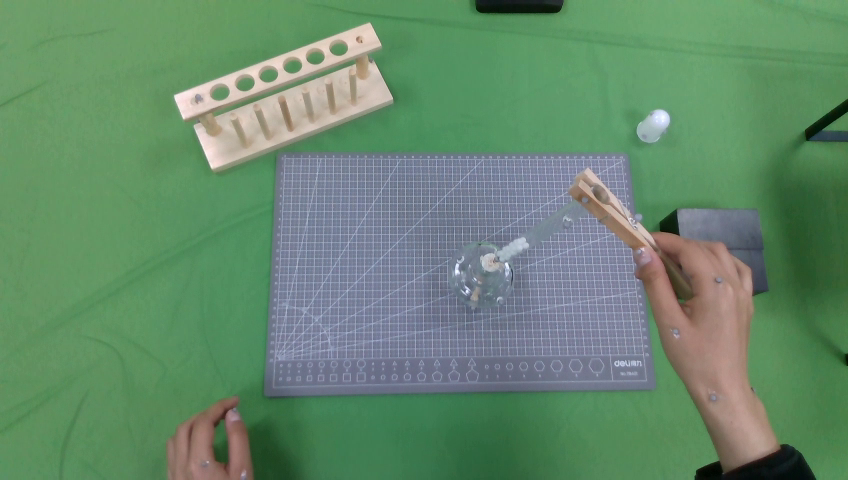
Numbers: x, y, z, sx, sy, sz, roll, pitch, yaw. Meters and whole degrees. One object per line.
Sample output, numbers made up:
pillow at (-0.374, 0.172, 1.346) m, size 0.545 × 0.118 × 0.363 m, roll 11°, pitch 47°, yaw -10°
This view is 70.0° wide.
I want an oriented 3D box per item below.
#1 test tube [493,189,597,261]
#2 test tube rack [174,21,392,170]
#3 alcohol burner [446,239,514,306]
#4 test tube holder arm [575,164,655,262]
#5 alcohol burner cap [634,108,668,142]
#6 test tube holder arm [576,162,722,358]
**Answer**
test tube at (0.104, -0.011, 0.530) m, size 0.017 × 0.150 × 0.017 m, roll 11°, pitch 64°, yaw -23°
test tube rack at (-0.163, -0.175, 0.737) m, size 0.242 × 0.085 × 0.066 m, roll -24°, pitch 77°, yaw -9°
alcohol burner at (0.065, 0.033, 0.677) m, size 0.078 × 0.119 × 0.077 m, roll 1°, pitch 75°, yaw -4°
test tube holder arm at (0.148, -0.020, 0.469) m, size 0.015 × 0.010 × 0.088 m, roll -36°, pitch 98°, yaw 22°
alcohol burner cap at (0.295, -0.150, 0.781) m, size 0.034 × 0.048 × 0.033 m, roll 0°, pitch 73°, yaw -1°
test tube holder arm at (0.176, 0.015, 0.475) m, size 0.015 × 0.013 × 0.178 m, roll -36°, pitch 87°, yaw 23°
